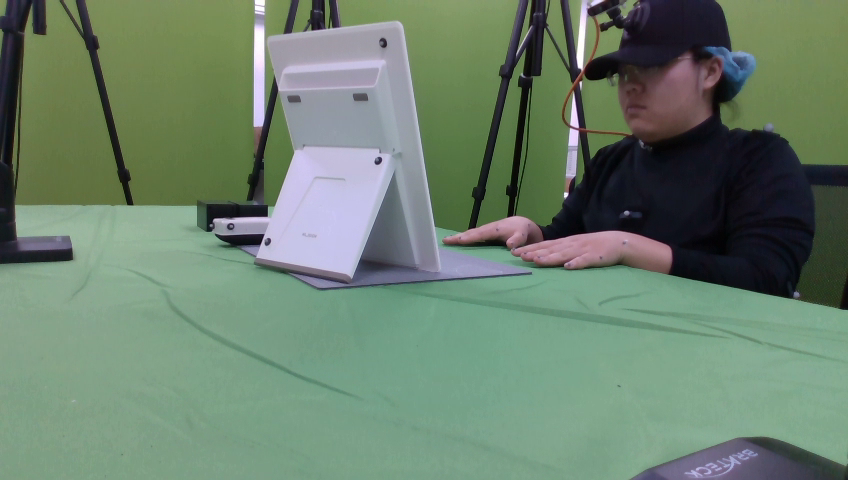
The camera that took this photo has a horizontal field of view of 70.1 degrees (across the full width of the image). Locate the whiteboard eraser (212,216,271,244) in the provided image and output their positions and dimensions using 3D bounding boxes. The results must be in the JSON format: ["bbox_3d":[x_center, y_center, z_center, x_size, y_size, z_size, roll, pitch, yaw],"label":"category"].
[{"bbox_3d":[-0.266,-0.016,0.942,0.113,0.042,0.055,-2,10,-35],"label":"whiteboard eraser"}]

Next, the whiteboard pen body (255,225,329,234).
[{"bbox_3d":[-0.239,-0.019,1.105,0.141,0.017,0.017,-2,9,-34],"label":"whiteboard pen body"}]

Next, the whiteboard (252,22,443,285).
[{"bbox_3d":[-0.125,-0.081,0.715,0.216,0.305,0.144,8,29,36],"label":"whiteboard"}]

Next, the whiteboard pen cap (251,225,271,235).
[{"bbox_3d":[-0.288,-0.019,1.071,0.033,0.018,0.018,-3,10,-34],"label":"whiteboard pen cap"}]
